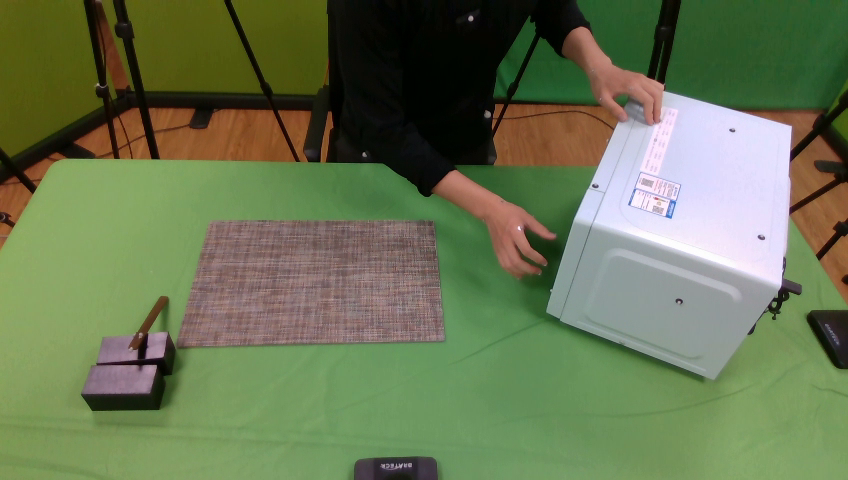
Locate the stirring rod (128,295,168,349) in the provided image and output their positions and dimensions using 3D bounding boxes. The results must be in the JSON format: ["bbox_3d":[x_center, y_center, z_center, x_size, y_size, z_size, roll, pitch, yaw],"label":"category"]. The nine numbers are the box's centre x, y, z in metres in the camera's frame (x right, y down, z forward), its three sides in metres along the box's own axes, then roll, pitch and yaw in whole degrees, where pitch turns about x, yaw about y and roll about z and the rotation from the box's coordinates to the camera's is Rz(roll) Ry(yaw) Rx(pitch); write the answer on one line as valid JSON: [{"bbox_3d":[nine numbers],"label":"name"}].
[{"bbox_3d":[-0.451,0.131,0.996,0.014,0.006,0.175,9,21,-10],"label":"stirring rod"}]

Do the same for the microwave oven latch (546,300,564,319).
[{"bbox_3d":[0.242,0.102,1.081,0.030,0.029,0.079,22,48,17],"label":"microwave oven latch"}]

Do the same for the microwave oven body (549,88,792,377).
[{"bbox_3d":[0.456,-0.028,1.088,0.325,0.261,0.440,20,47,16],"label":"microwave oven body"}]

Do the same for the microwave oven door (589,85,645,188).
[{"bbox_3d":[0.342,-0.107,1.149,0.039,0.245,0.354,20,48,15],"label":"microwave oven door"}]
